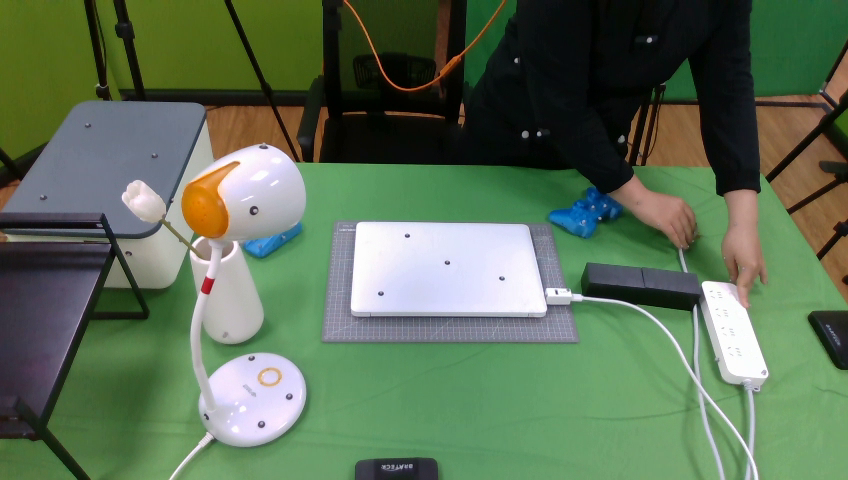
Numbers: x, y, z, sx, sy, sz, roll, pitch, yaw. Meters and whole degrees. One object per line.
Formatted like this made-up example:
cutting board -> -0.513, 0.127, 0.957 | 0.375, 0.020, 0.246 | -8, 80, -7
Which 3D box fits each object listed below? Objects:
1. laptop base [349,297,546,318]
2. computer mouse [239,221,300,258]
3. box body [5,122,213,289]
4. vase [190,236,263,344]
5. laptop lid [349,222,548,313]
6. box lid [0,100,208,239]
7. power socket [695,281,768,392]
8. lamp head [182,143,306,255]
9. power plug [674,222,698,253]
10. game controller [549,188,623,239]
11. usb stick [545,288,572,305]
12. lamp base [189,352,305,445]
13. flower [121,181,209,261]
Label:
laptop base -> 0.041, 0.056, 1.149 | 0.355, 0.023, 0.234 | 1, 42, -4
computer mouse -> -0.300, -0.016, 1.178 | 0.062, 0.041, 0.117 | 35, 57, 22
box body -> -0.563, -0.087, 1.140 | 0.254, 0.161, 0.361 | 2, 46, -3
vase -> -0.317, 0.081, 0.971 | 0.098, 0.201, 0.097 | 3, 47, -3
laptop lid -> 0.041, 0.046, 1.143 | 0.357, 0.013, 0.240 | 2, 44, -3
box lid -> -0.559, -0.138, 1.085 | 0.263, 0.015, 0.369 | 2, 46, -2
power socket -> 0.542, 0.161, 1.077 | 0.072, 0.033, 0.225 | 5, 46, 1
lamp head -> -0.215, -0.044, 0.697 | 0.112, 0.113, 0.123 | 23, 31, 17
power plug -> 0.536, -0.002, 1.249 | 0.053, 0.072, 0.035 | 20, 4, -20
game controller -> 0.346, -0.065, 1.272 | 0.155, 0.052, 0.096 | -31, 58, -29
usb stick -> 0.237, 0.103, 1.102 | 0.059, 0.027, 0.021 | -2, 46, 1
lamp base -> -0.268, 0.197, 0.876 | 0.160, 0.181, 0.179 | 26, 52, 19
flower -> -0.329, 0.029, 0.905 | 0.038, 0.364, 0.044 | -23, 58, -1
